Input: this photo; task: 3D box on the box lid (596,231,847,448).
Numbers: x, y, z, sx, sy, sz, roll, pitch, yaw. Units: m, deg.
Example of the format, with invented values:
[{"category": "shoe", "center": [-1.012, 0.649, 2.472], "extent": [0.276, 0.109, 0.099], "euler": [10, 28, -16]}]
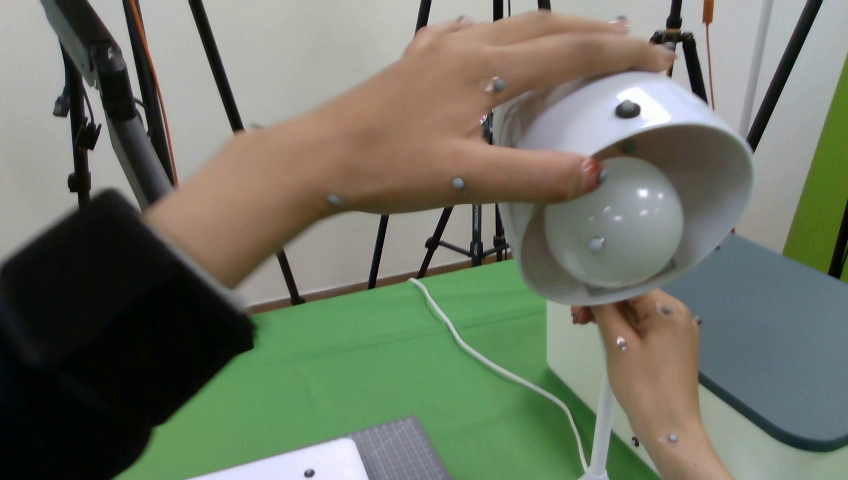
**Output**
[{"category": "box lid", "center": [0.322, 0.063, 0.628], "extent": [0.264, 0.015, 0.367], "euler": [-10, 25, -21]}]

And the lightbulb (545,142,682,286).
[{"category": "lightbulb", "center": [0.084, -0.027, 0.293], "extent": [0.059, 0.060, 0.106], "euler": [-4, 51, -6]}]

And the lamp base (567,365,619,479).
[{"category": "lamp base", "center": [0.130, 0.202, 0.483], "extent": [0.160, 0.181, 0.178], "euler": [6, 21, 16]}]

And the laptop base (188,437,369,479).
[{"category": "laptop base", "center": [-0.201, 0.291, 0.503], "extent": [0.355, 0.023, 0.233], "euler": [-10, 28, -19]}]

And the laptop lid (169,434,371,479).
[{"category": "laptop lid", "center": [-0.200, 0.281, 0.496], "extent": [0.358, 0.013, 0.239], "euler": [-9, 27, -17]}]

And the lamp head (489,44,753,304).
[{"category": "lamp head", "center": [0.085, -0.042, 0.312], "extent": [0.112, 0.113, 0.121], "euler": [-6, 41, -9]}]

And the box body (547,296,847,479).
[{"category": "box body", "center": [0.325, 0.132, 0.657], "extent": [0.255, 0.161, 0.360], "euler": [-11, 25, -20]}]
